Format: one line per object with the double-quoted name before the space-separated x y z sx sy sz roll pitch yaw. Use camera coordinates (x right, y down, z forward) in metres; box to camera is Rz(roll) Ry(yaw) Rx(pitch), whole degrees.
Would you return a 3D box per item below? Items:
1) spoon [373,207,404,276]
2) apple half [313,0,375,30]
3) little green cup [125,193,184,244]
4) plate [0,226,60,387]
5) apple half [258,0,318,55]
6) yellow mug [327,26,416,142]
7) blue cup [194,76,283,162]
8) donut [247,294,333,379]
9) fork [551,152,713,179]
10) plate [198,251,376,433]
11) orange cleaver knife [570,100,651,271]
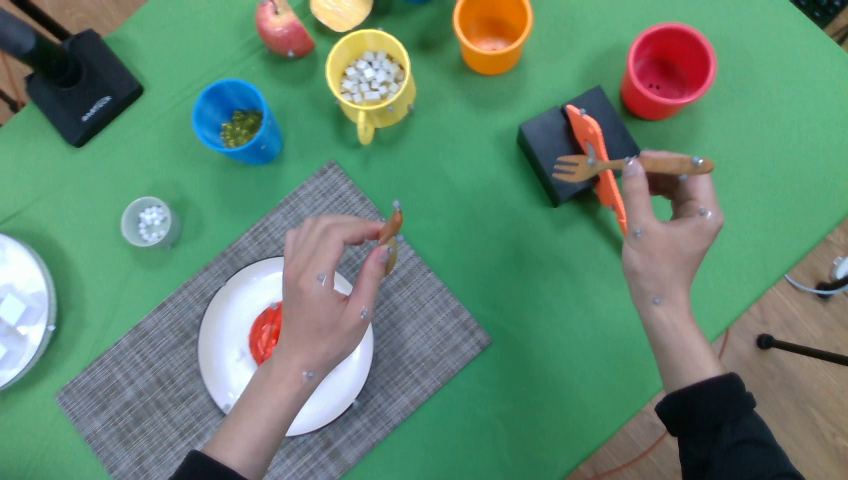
"spoon" -0.032 0.001 0.496 0.022 0.194 0.041 6 80 -4
"apple half" -0.102 -0.307 0.775 0.081 0.032 0.081 0 97 1
"little green cup" -0.330 -0.024 0.748 0.061 0.039 0.061 -1 81 5
"plate" -0.545 0.084 0.748 0.207 0.039 0.207 -1 82 4
"apple half" -0.175 -0.265 0.754 0.053 0.075 0.080 -36 84 3
"yellow mug" -0.064 -0.184 0.737 0.100 0.064 0.130 7 83 5
"blue cup" -0.211 -0.136 0.724 0.092 0.100 0.092 0 82 3
"donut" -0.155 0.112 0.701 0.099 0.048 0.099 -1 83 5
"fork" 0.170 -0.067 0.529 0.019 0.206 0.028 21 90 -18
"plate" -0.157 0.117 0.712 0.209 0.038 0.208 -1 82 4
"orange cleaver knife" 0.212 -0.061 0.692 0.012 0.076 0.213 -26 110 2
